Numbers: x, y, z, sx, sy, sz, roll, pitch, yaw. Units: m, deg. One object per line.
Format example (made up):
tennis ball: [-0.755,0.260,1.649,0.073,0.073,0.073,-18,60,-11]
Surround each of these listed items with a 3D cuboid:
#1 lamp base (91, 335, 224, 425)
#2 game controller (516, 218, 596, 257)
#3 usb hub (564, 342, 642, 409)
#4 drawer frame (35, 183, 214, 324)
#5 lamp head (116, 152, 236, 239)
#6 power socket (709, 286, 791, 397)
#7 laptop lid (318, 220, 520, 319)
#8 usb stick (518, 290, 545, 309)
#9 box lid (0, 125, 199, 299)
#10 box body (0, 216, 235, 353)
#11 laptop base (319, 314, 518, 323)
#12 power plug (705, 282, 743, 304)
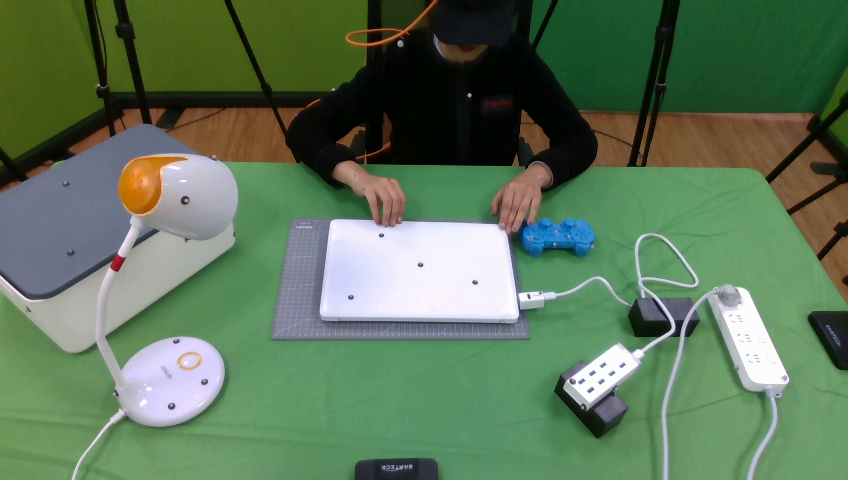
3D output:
lamp base: [-0.401,0.171,0.892,0.160,0.181,0.179,30,53,23]
game controller: [0.267,-0.015,1.212,0.155,0.052,0.096,0,50,-3]
usb hub: [0.278,0.208,0.942,0.125,0.025,0.049,-27,52,-28]
drawer frame: [-0.531,0.018,1.092,0.201,0.083,0.213,29,52,21]
lamp head: [-0.315,-0.057,0.748,0.112,0.112,0.123,26,10,20]
power socket: [0.568,0.167,1.064,0.072,0.033,0.225,2,46,-1]
laptop lid: [-0.008,0.048,1.125,0.357,0.013,0.240,3,47,-2]
usb stick: [0.186,0.108,1.086,0.059,0.027,0.021,-8,47,1]
box lid: [-0.540,-0.068,1.016,0.262,0.015,0.371,30,51,23]
box body: [-0.550,-0.007,1.068,0.253,0.161,0.363,30,51,23]
laptop base: [-0.010,0.063,1.138,0.354,0.023,0.234,1,43,-3]
power plug: [0.539,0.097,1.098,0.072,0.053,0.035,8,47,8]
